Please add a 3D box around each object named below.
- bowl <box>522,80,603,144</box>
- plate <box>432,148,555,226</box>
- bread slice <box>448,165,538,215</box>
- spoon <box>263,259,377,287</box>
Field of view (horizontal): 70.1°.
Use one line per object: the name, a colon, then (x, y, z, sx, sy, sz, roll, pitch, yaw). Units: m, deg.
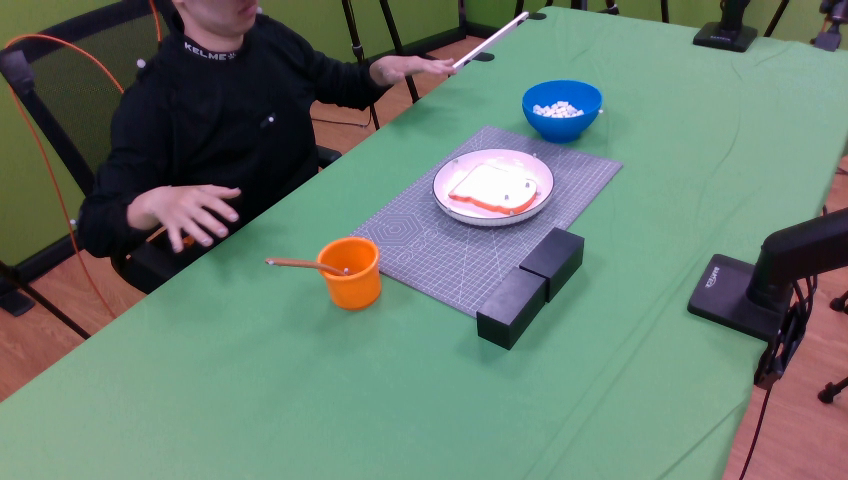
bowl: (0.264, -0.239, 1.166, 0.151, 0.077, 0.150, -4, 41, 4)
plate: (0.119, -0.087, 1.037, 0.209, 0.038, 0.208, -4, 40, 4)
bread slice: (0.126, -0.085, 1.038, 0.133, 0.018, 0.107, 16, 45, 27)
spoon: (-0.140, 0.042, 0.843, 0.041, 0.195, 0.021, 35, 101, 41)
